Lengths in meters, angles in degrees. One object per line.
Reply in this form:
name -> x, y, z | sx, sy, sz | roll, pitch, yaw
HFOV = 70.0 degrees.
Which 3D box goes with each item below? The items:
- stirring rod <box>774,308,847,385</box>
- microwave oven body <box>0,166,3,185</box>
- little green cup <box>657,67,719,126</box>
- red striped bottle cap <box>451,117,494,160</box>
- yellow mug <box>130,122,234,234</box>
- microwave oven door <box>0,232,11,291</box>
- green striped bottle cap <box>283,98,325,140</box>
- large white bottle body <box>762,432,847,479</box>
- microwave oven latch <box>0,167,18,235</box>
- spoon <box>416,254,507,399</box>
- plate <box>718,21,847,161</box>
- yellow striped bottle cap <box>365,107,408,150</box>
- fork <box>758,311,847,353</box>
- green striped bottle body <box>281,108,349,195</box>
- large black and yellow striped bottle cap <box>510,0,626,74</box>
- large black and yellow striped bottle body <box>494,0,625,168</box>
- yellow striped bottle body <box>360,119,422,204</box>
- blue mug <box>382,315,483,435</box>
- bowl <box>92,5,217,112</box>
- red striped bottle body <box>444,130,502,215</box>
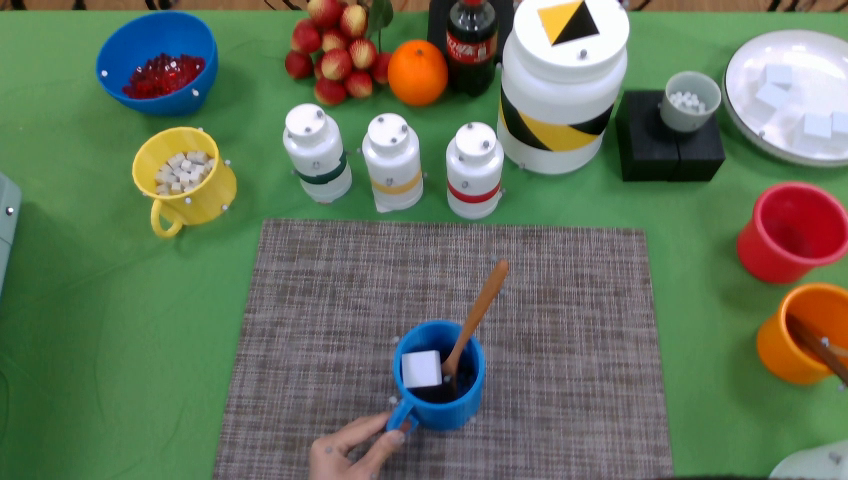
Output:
stirring rod -> 0.373, 0.106, 0.564 | 0.014, 0.006, 0.175 | 5, 21, 2
microwave oven body -> -0.634, 0.089, 0.546 | 0.326, 0.262, 0.438 | -7, 65, -1
little green cup -> 0.299, -0.162, 0.693 | 0.061, 0.039, 0.061 | 0, 62, 0
red striped bottle cap -> 0.051, -0.107, 0.631 | 0.044, 0.018, 0.044 | 1, 63, -1
yellow mug -> -0.290, -0.067, 0.716 | 0.100, 0.064, 0.130 | 11, 66, 7
microwave oven door -> -0.485, 0.107, 0.524 | 0.039, 0.246, 0.352 | -7, 64, 0
green striped bottle cap -> -0.129, -0.130, 0.651 | 0.044, 0.020, 0.044 | 0, 64, 1
large white bottle body -> 0.371, 0.218, 0.483 | 0.130, 0.186, 0.129 | -1, 64, 2
microwave oven latch -> -0.502, -0.044, 0.710 | 0.030, 0.030, 0.078 | -5, 65, 0
spoon -> 0.034, 0.090, 0.552 | 0.041, 0.195, 0.022 | 40, 39, 24
plate -> 0.469, -0.182, 0.752 | 0.209, 0.038, 0.207 | -1, 65, 2
yellow striped bottle cap -> -0.040, -0.118, 0.642 | 0.044, 0.019, 0.044 | -1, 66, 2
fork -> 0.401, 0.108, 0.553 | 0.028, 0.019, 0.205 | -25, 21, -16
green striped bottle body -> -0.125, -0.107, 0.698 | 0.063, 0.120, 0.062 | -1, 64, 2
large black and yellow striped bottle cap -> 0.144, -0.217, 0.609 | 0.115, 0.019, 0.114 | -1, 63, 3
large black and yellow striped bottle body -> 0.149, -0.181, 0.685 | 0.131, 0.185, 0.129 | -1, 64, 3
yellow striped bottle body -> -0.037, -0.096, 0.688 | 0.063, 0.121, 0.062 | -1, 63, 3
blue mug -> 0.003, 0.139, 0.578 | 0.082, 0.106, 0.116 | 38, 71, 19
bowl -> -0.334, -0.220, 0.785 | 0.151, 0.077, 0.150 | -1, 64, 2
red striped bottle body -> 0.055, -0.083, 0.678 | 0.063, 0.120, 0.062 | -2, 63, 5
